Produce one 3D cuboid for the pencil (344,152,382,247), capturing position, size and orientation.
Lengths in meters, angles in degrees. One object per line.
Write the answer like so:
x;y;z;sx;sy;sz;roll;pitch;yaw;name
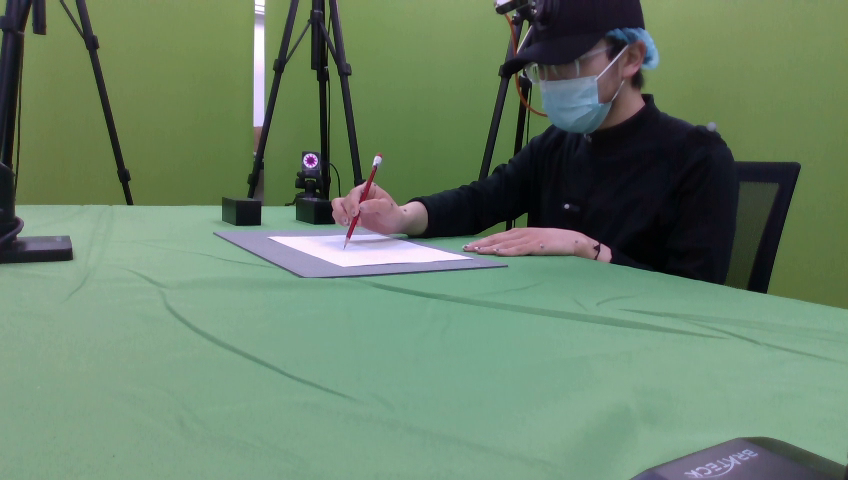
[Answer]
-0.098;-0.068;0.967;0.012;0.194;0.012;12;-32;8;pencil
